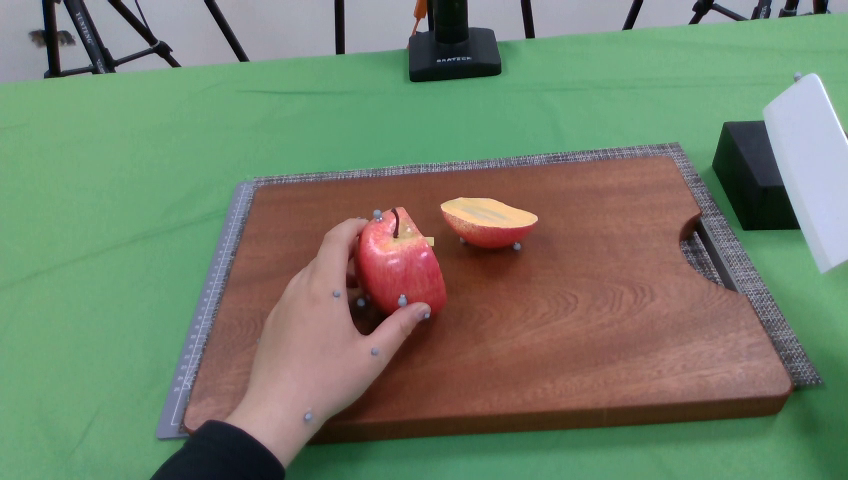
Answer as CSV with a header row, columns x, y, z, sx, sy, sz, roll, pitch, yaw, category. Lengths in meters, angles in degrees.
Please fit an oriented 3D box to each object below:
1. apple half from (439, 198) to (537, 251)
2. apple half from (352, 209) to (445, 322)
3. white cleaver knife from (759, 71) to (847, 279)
x,y,z,sx,sy,sz,roll,pitch,yaw,category
0.048,-0.008,0.492,0.081,0.033,0.081,7,21,-2,apple half
-0.024,0.024,0.441,0.053,0.075,0.080,-24,49,-12,apple half
0.303,-0.008,0.434,0.021,0.066,0.283,11,55,-13,white cleaver knife
